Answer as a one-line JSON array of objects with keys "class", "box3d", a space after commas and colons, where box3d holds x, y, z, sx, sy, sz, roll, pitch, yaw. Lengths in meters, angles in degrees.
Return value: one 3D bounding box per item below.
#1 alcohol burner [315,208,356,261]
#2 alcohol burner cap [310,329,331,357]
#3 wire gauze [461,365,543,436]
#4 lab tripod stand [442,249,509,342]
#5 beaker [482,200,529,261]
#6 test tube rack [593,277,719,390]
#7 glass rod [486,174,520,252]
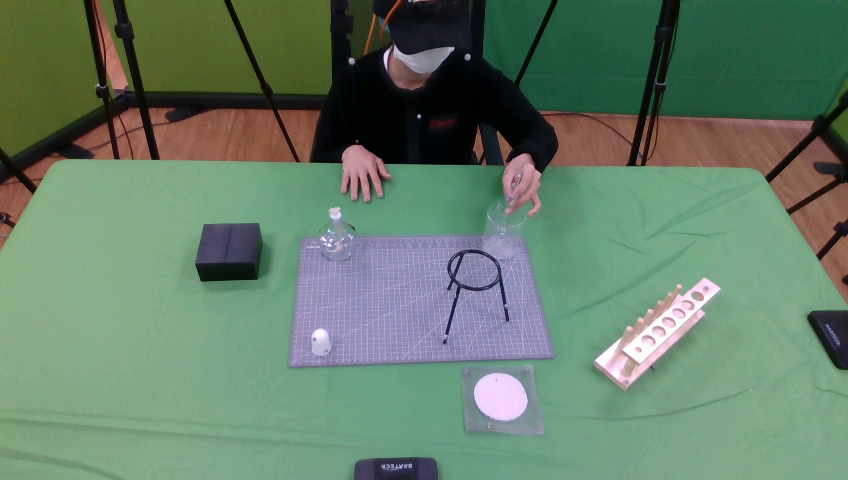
[{"class": "alcohol burner", "box3d": [-0.166, -0.017, 1.134, 0.078, 0.119, 0.077, 2, 48, -2]}, {"class": "alcohol burner cap", "box3d": [-0.173, 0.168, 1.004, 0.034, 0.048, 0.033, 2, 46, -2]}, {"class": "wire gauze", "box3d": [0.124, 0.254, 0.973, 0.125, 0.011, 0.120, 3, 47, -3]}, {"class": "lab tripod stand", "box3d": [0.082, 0.090, 1.036, 0.148, 0.132, 0.147, 3, 44, -3]}, {"class": "beaker", "box3d": [0.153, -0.015, 1.169, 0.084, 0.101, 0.073, -2, 46, -7]}, {"class": "test tube rack", "box3d": [0.401, 0.148, 1.043, 0.242, 0.085, 0.066, -30, 55, -29]}, {"class": "glass rod", "box3d": [0.144, -0.046, 1.123, 0.008, 0.200, 0.008, 9, 45, -9]}]
